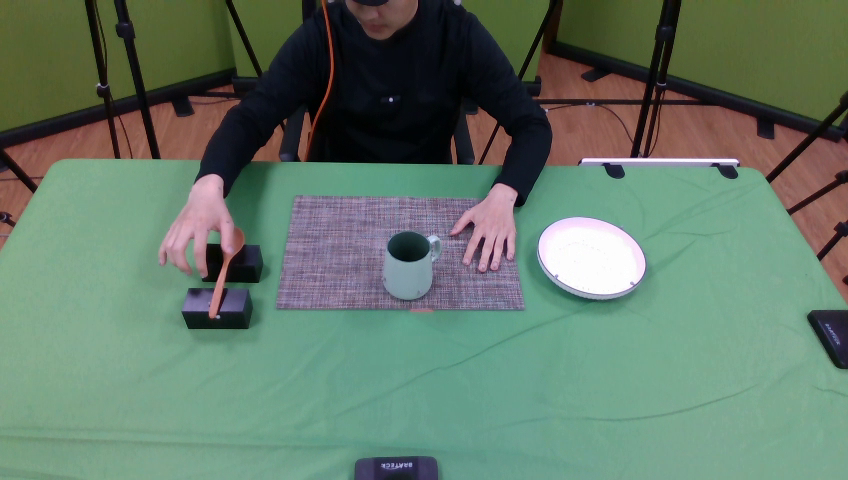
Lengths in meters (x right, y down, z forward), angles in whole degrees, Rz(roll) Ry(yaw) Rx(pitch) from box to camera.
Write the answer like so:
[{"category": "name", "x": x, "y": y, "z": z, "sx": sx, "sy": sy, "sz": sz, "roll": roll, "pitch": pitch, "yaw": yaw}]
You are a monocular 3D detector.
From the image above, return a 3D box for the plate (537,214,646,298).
[{"category": "plate", "x": 0.321, "y": 0.035, "z": 1.176, "sx": 0.209, "sy": 0.038, "sz": 0.208, "roll": 2, "pitch": 47, "yaw": -2}]

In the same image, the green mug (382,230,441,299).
[{"category": "green mug", "x": -0.017, "y": 0.037, "z": 1.097, "sx": 0.125, "sy": 0.105, "sz": 0.092, "roll": -34, "pitch": 57, "yaw": -31}]

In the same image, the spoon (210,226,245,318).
[{"category": "spoon", "x": -0.347, "y": 0.051, "z": 1.051, "sx": 0.042, "sy": 0.022, "sz": 0.192, "roll": 16, "pitch": 44, "yaw": -17}]
